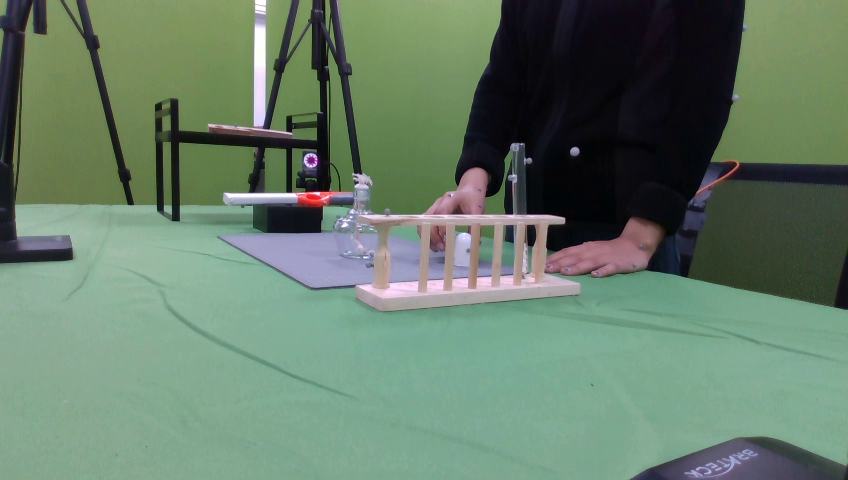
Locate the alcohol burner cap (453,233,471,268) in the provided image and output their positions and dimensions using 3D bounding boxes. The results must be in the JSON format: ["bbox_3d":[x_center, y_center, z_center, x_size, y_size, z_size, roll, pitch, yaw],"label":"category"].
[{"bbox_3d":[0.052,0.014,0.823,0.034,0.048,0.034,5,5,0],"label":"alcohol burner cap"}]

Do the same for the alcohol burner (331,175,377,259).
[{"bbox_3d":[-0.091,-0.033,0.855,0.078,0.119,0.078,4,7,0],"label":"alcohol burner"}]

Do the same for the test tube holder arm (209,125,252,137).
[{"bbox_3d":[-0.419,-0.236,1.308,0.088,0.015,0.010,1,40,-28],"label":"test tube holder arm"}]

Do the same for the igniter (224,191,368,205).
[{"bbox_3d":[-0.237,-0.079,1.157,0.278,0.025,0.057,-3,21,-31],"label":"igniter"}]

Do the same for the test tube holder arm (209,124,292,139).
[{"bbox_3d":[-0.381,-0.238,1.334,0.179,0.015,0.013,1,40,-29],"label":"test tube holder arm"}]

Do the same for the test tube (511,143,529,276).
[{"bbox_3d":[0.108,-0.033,0.678,0.017,0.150,0.017,-3,7,1],"label":"test tube"}]

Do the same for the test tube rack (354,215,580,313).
[{"bbox_3d":[0.053,0.019,0.635,0.243,0.085,0.066,-1,8,-29],"label":"test tube rack"}]
